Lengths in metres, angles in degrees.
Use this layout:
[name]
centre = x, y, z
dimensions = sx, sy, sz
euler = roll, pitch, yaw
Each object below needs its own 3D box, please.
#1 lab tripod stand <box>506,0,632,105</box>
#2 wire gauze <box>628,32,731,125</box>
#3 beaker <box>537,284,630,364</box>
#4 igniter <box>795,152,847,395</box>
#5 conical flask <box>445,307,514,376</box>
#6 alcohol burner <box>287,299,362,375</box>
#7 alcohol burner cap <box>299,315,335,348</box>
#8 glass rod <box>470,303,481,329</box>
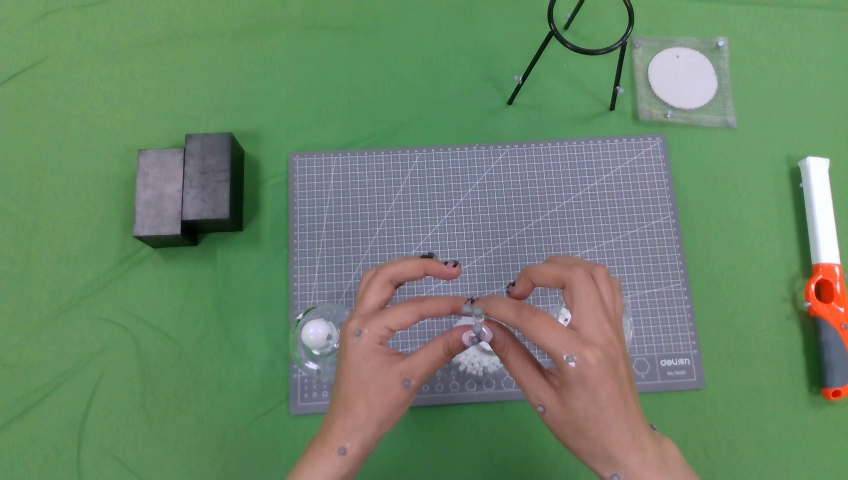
[lab tripod stand]
centre = 0.166, -0.217, 0.684
dimensions = 0.148, 0.132, 0.147
euler = 0, 78, 0
[wire gauze]
centre = 0.316, -0.202, 0.747
dimensions = 0.125, 0.011, 0.121
euler = 3, 77, -2
[beaker]
centre = 0.162, 0.089, 0.625
dimensions = 0.084, 0.100, 0.073
euler = -36, 80, -9
[igniter]
centre = 0.451, 0.033, 0.683
dimensions = 0.057, 0.025, 0.275
euler = 5, 76, -11
[conical flask]
centre = 0.060, 0.098, 0.609
dimensions = 0.075, 0.122, 0.075
euler = 0, 76, -1
[alcohol burner]
centre = -0.103, 0.096, 0.611
dimensions = 0.078, 0.119, 0.077
euler = 0, 75, 2
[alcohol burner cap]
centre = -0.103, 0.086, 0.576
dimensions = 0.034, 0.048, 0.033
euler = 1, 80, -4
[glass rod]
centre = 0.036, 0.056, 0.430
dimensions = 0.008, 0.200, 0.008
euler = -1, 79, 5
